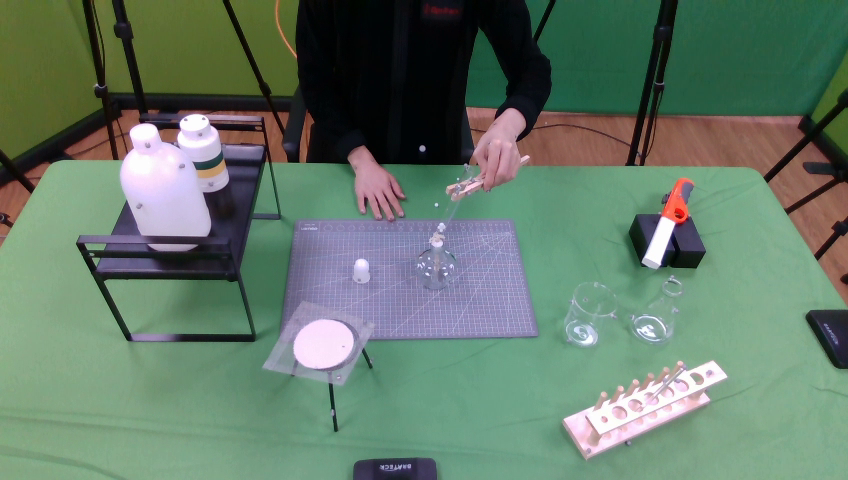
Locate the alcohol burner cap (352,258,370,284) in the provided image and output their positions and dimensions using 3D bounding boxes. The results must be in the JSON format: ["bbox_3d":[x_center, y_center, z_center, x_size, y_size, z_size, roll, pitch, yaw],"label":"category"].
[{"bbox_3d":[-0.117,0.055,1.118,0.034,0.048,0.033,1,46,-1],"label":"alcohol burner cap"}]

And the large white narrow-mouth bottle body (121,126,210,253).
[{"bbox_3d":[-0.378,-0.077,0.875,0.102,0.195,0.101,3,46,-3],"label":"large white narrow-mouth bottle body"}]

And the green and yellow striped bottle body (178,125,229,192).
[{"bbox_3d":[-0.361,-0.142,0.989,0.063,0.120,0.063,2,46,-2],"label":"green and yellow striped bottle body"}]

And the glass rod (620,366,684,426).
[{"bbox_3d":[0.322,0.227,0.866,0.008,0.200,0.008,6,51,-7],"label":"glass rod"}]

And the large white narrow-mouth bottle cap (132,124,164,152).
[{"bbox_3d":[-0.370,-0.137,0.813,0.038,0.024,0.037,3,46,-3],"label":"large white narrow-mouth bottle cap"}]

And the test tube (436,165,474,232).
[{"bbox_3d":[0.049,-0.064,0.994,0.017,0.151,0.017,12,46,-13],"label":"test tube"}]

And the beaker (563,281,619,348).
[{"bbox_3d":[0.283,0.129,1.041,0.074,0.101,0.083,11,46,6],"label":"beaker"}]

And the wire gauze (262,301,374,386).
[{"bbox_3d":[-0.150,0.148,0.873,0.121,0.011,0.124,14,46,12],"label":"wire gauze"}]

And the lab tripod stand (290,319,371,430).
[{"bbox_3d":[-0.146,0.193,0.923,0.148,0.132,0.147,1,47,-1],"label":"lab tripod stand"}]

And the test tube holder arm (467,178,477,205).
[{"bbox_3d":[0.079,-0.086,1.032,0.015,0.013,0.178,-21,16,8],"label":"test tube holder arm"}]

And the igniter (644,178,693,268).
[{"bbox_3d":[0.488,-0.042,1.204,0.057,0.025,0.276,30,51,10],"label":"igniter"}]

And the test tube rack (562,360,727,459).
[{"bbox_3d":[0.341,0.247,0.940,0.243,0.085,0.066,-16,49,-18],"label":"test tube rack"}]

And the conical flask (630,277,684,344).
[{"bbox_3d":[0.408,0.117,1.045,0.075,0.122,0.075,2,46,-2],"label":"conical flask"}]

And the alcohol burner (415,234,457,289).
[{"bbox_3d":[0.022,0.033,1.100,0.078,0.120,0.077,1,47,-1],"label":"alcohol burner"}]

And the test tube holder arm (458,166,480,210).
[{"bbox_3d":[0.075,-0.083,0.991,0.015,0.088,0.010,-17,43,9],"label":"test tube holder arm"}]

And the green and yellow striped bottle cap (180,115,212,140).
[{"bbox_3d":[-0.358,-0.177,0.951,0.045,0.020,0.045,1,44,-1],"label":"green and yellow striped bottle cap"}]
